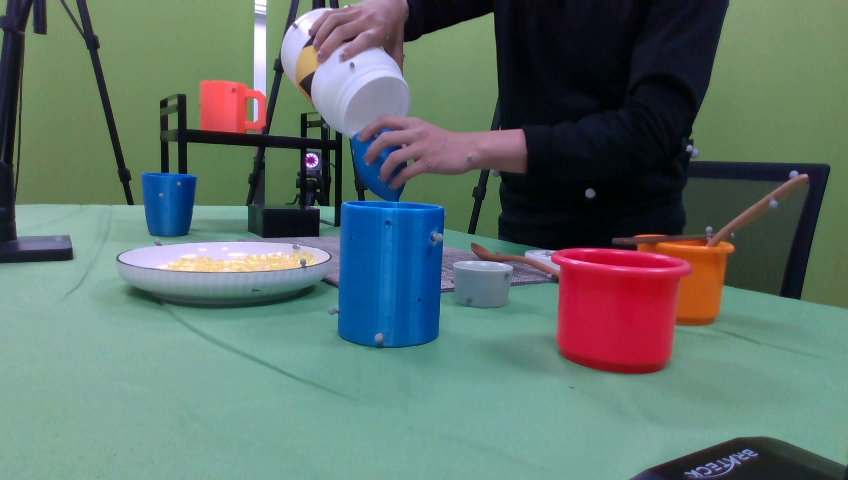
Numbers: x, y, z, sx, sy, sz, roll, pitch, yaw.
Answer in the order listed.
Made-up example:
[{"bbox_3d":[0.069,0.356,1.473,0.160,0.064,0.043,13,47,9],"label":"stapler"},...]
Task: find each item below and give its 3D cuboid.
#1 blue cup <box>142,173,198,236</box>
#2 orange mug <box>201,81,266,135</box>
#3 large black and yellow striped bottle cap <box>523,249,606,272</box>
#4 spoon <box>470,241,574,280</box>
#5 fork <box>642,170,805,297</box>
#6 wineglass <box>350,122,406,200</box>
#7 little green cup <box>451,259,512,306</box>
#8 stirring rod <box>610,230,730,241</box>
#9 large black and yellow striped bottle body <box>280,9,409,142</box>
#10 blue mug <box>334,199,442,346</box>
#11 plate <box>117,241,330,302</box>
[{"bbox_3d":[-0.425,-0.060,1.014,0.093,0.100,0.092,4,9,0],"label":"blue cup"},{"bbox_3d":[-0.377,-0.260,1.198,0.126,0.101,0.083,-3,8,-6],"label":"orange mug"},{"bbox_3d":[0.197,0.028,0.851,0.115,0.019,0.115,5,5,0],"label":"large black and yellow striped bottle cap"},{"bbox_3d":[0.124,0.025,0.800,0.042,0.021,0.192,24,-6,-34],"label":"spoon"},{"bbox_3d":[0.261,0.004,0.545,0.028,0.018,0.207,5,-37,-15],"label":"fork"},{"bbox_3d":[-0.048,-0.072,0.837,0.074,0.172,0.074,-18,-11,-3],"label":"wineglass"},{"bbox_3d":[0.057,0.043,0.611,0.061,0.038,0.061,3,8,0],"label":"little green cup"},{"bbox_3d":[0.241,-0.005,0.582,0.177,0.006,0.014,-3,10,-34],"label":"stirring rod"},{"bbox_3d":[-0.115,-0.239,0.885,0.131,0.130,0.183,-5,43,-43],"label":"large black and yellow striped bottle body"},{"bbox_3d":[-0.034,0.020,0.498,0.083,0.106,0.116,0,7,-19],"label":"blue mug"},{"bbox_3d":[-0.203,0.031,0.630,0.209,0.038,0.209,3,7,0],"label":"plate"}]
